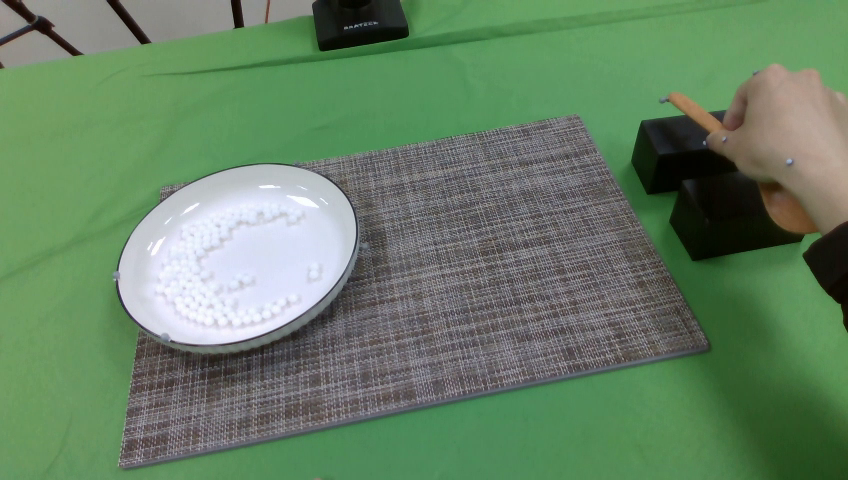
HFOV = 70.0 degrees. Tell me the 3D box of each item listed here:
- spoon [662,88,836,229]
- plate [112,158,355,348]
[{"bbox_3d":[0.257,-0.076,0.499,0.041,0.022,0.191,-33,52,9],"label":"spoon"},{"bbox_3d":[-0.163,0.010,0.539,0.207,0.039,0.205,-2,50,3],"label":"plate"}]
